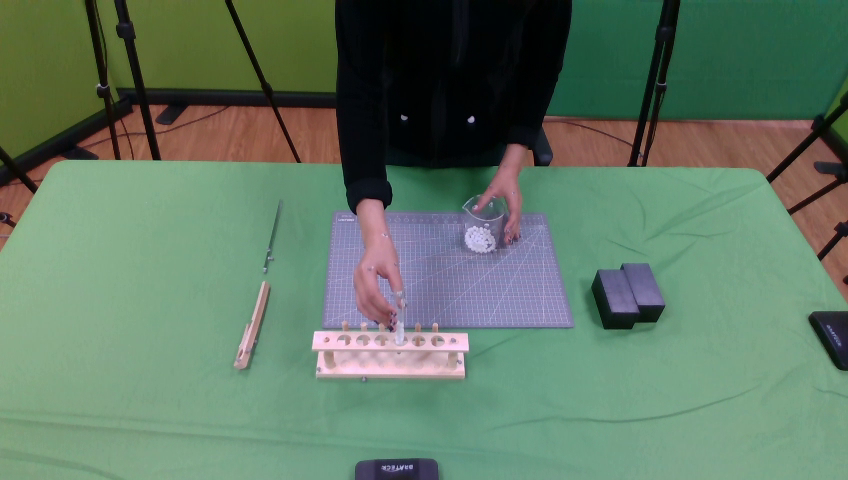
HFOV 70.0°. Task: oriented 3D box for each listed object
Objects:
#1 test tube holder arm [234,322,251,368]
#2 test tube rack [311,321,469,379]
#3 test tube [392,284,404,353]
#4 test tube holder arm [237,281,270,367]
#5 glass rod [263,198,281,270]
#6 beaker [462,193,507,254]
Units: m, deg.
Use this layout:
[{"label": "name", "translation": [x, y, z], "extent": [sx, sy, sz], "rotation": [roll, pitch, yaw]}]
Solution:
[{"label": "test tube holder arm", "translation": [-0.299, 0.174, 1.013], "extent": [0.010, 0.015, 0.087], "rotation": [-19, 40, 23]}, {"label": "test tube rack", "translation": [-0.054, 0.174, 0.984], "extent": [0.242, 0.085, 0.066], "rotation": [1, 46, -3]}, {"label": "test tube", "translation": [-0.038, 0.121, 0.908], "extent": [0.017, 0.151, 0.017], "rotation": [1, 44, -1]}, {"label": "test tube holder arm", "translation": [-0.291, 0.141, 1.042], "extent": [0.013, 0.015, 0.177], "rotation": [-19, 40, 23]}, {"label": "glass rod", "translation": [-0.299, -0.016, 1.202], "extent": [0.008, 0.008, 0.198], "rotation": [1, 47, -2]}, {"label": "beaker", "translation": [0.113, -0.029, 1.177], "extent": [0.084, 0.101, 0.073], "rotation": [6, 46, 3]}]
